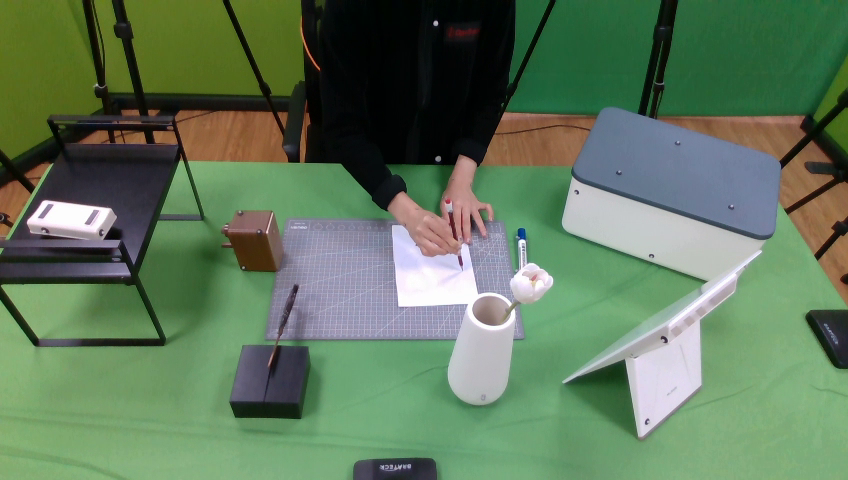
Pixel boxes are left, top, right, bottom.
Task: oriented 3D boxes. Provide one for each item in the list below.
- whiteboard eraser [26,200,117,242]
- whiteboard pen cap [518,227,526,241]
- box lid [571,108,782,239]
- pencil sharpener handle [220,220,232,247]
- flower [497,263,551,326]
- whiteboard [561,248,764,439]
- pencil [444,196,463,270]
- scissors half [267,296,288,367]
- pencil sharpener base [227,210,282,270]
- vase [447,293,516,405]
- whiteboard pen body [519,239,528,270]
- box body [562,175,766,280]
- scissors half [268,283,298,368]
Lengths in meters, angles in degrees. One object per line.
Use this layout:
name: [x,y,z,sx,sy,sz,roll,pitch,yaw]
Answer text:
whiteboard eraser: [-0.532,-0.026,0.919,0.113,0.042,0.055,7,45,3]
whiteboard pen cap: [0.197,-0.009,1.220,0.018,0.018,0.033,5,50,1]
box lid: [0.491,-0.139,1.168,0.370,0.015,0.262,21,49,15]
pencil sharpener handle: [-0.362,-0.009,1.105,0.030,0.068,0.036,1,52,1]
flower: [0.102,0.121,0.853,0.044,0.363,0.038,-2,64,-10]
whiteboard: [0.386,0.176,0.905,0.217,0.306,0.143,-26,72,-27]
pencil: [0.056,-0.007,1.086,0.012,0.195,0.012,-7,48,8]
scissors half: [-0.239,0.150,0.997,0.013,0.040,0.174,24,24,-13]
pencil sharpener base: [-0.311,0.001,1.112,0.077,0.107,0.061,1,47,1]
vase: [0.091,0.169,0.921,0.098,0.201,0.097,3,47,-3]
whiteboard pen body: [0.193,0.035,1.181,0.017,0.017,0.140,6,48,1]
box body: [0.486,-0.088,1.222,0.363,0.161,0.253,20,48,15]
scissors half: [-0.230,0.135,0.986,0.013,0.040,0.174,19,43,-11]
